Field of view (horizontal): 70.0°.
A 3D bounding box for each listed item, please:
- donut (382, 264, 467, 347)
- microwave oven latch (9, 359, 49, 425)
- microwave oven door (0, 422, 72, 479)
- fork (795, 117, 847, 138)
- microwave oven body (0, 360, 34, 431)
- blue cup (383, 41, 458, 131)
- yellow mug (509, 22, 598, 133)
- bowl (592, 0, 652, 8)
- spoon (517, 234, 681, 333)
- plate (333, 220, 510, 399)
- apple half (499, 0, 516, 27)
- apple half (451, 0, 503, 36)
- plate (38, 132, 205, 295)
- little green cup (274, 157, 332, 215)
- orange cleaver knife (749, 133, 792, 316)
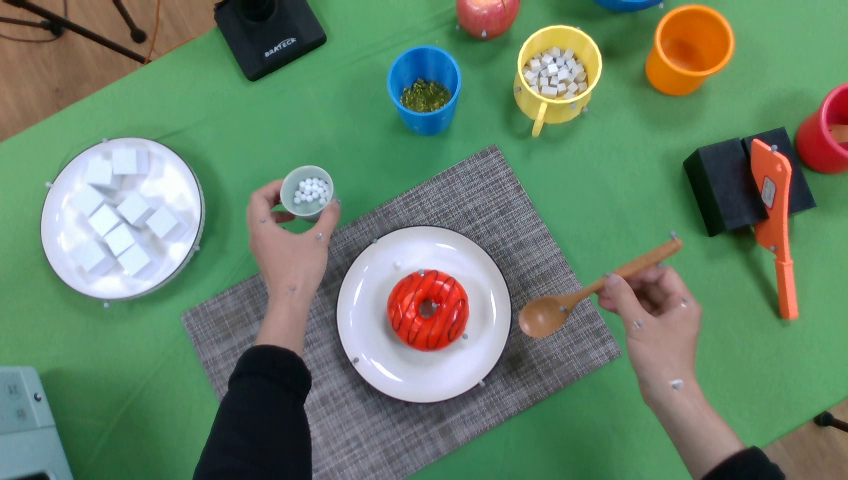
[{"bbox_3d":[0.001,0.076,0.707,0.099,0.048,0.098,-1,81,4],"label":"donut"},{"bbox_3d":[-0.473,0.180,0.714,0.030,0.029,0.079,-24,80,-2],"label":"microwave oven latch"},{"bbox_3d":[-0.387,0.356,0.575,0.039,0.245,0.354,-26,79,-2],"label":"microwave oven door"},{"bbox_3d":[0.528,-0.125,0.672,0.205,0.019,0.028,12,65,48],"label":"fork"},{"bbox_3d":[-0.536,0.383,0.584,0.326,0.261,0.439,-26,80,-2],"label":"microwave oven body"},{"bbox_3d":[-0.002,-0.177,0.735,0.092,0.100,0.092,0,81,2],"label":"blue cup"},{"bbox_3d":[0.152,-0.193,0.746,0.100,0.064,0.130,19,83,6],"label":"yellow mug"},{"bbox_3d":[0.248,-0.351,0.762,0.151,0.077,0.151,-1,81,4],"label":"bowl"},{"bbox_3d":[0.167,0.044,0.601,0.194,0.022,0.041,-38,64,41],"label":"spoon"},{"bbox_3d":[-0.003,0.081,0.718,0.209,0.038,0.208,-1,80,4],"label":"plate"},{"bbox_3d":[0.098,-0.312,0.765,0.033,0.081,0.081,-24,79,1],"label":"apple half"},{"bbox_3d":[0.062,-0.296,0.766,0.053,0.075,0.080,-24,82,2],"label":"apple half"},{"bbox_3d":[-0.374,-0.032,0.764,0.207,0.039,0.207,-1,80,4],"label":"plate"},{"bbox_3d":[-0.135,-0.060,0.692,0.061,0.039,0.061,-4,59,7],"label":"little green cup"},{"bbox_3d":[0.395,-0.016,0.693,0.012,0.076,0.212,-14,109,3],"label":"orange cleaver knife"}]
